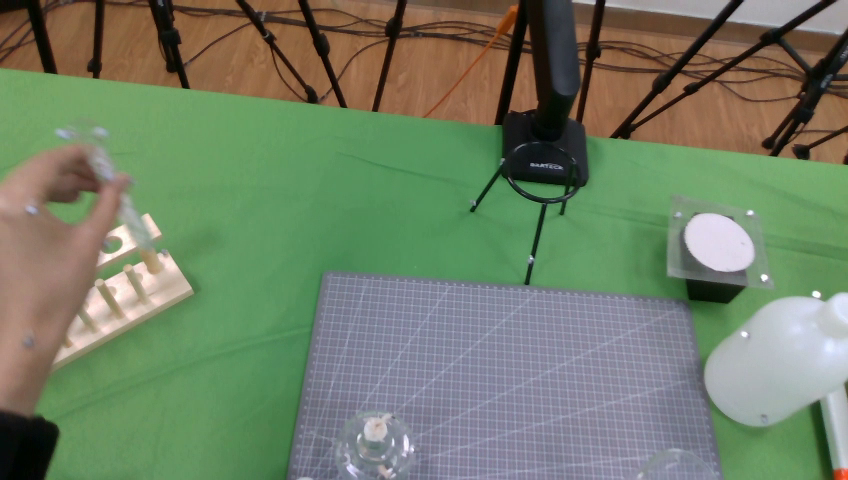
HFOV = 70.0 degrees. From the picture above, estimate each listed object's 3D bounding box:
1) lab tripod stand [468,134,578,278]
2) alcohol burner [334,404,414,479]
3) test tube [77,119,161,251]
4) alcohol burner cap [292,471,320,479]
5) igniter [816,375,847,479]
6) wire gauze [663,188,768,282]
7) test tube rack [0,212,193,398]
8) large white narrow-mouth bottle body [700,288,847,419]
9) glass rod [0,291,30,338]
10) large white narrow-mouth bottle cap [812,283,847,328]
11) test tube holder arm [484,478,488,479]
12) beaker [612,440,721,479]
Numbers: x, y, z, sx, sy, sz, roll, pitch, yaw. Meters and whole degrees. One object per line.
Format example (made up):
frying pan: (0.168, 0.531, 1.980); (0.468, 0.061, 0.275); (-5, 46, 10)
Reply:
lab tripod stand: (0.127, -0.048, 0.733); (0.148, 0.132, 0.147); (3, 58, -5)
alcohol burner: (-0.046, 0.188, 0.573); (0.078, 0.120, 0.077); (4, 56, -5)
test tube: (-0.217, -0.033, 0.441); (0.017, 0.151, 0.017); (4, 60, -6)
alcohol burner cap: (-0.112, 0.238, 0.577); (0.034, 0.048, 0.033); (2, 57, -2)
igniter: (0.445, 0.246, 0.637); (0.057, 0.025, 0.274); (16, 56, -7)
wire gauze: (0.354, -0.006, 0.744); (0.121, 0.011, 0.124); (11, 57, 2)
test tube rack: (-0.380, 0.072, 0.636); (0.242, 0.086, 0.066); (-32, 65, -23)
large white narrow-mouth bottle body: (0.369, 0.107, 0.619); (0.102, 0.196, 0.101); (2, 57, -3)
glass rod: (-0.414, 0.038, 0.575); (0.008, 0.201, 0.008); (4, 48, -4)
large white narrow-mouth bottle cap: (0.374, 0.059, 0.547); (0.038, 0.024, 0.037); (2, 57, -3)
test tube holder arm: (0.104, 0.256, 0.477); (0.015, 0.013, 0.179); (-41, 95, 15)
beaker: (0.220, 0.240, 0.573); (0.084, 0.101, 0.073); (2, 57, -3)
